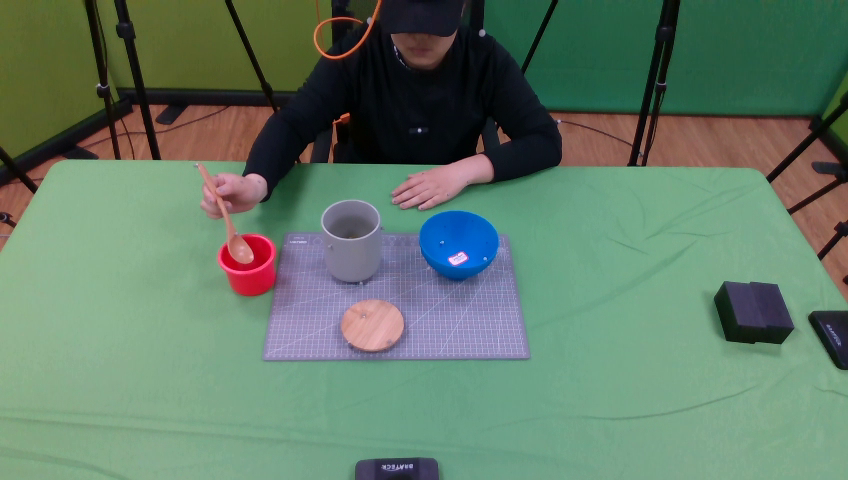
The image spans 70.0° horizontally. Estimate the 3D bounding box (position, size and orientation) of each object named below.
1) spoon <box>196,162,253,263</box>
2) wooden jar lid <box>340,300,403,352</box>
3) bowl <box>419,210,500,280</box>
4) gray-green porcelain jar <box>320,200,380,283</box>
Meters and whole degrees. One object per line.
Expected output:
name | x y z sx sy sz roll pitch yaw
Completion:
spoon | -0.349 -0.047 1.055 0.021 0.194 0.041 -17 7 40
wooden jar lid | -0.090 0.150 1.046 0.108 0.021 0.107 3 47 -3
bowl | 0.062 0.022 1.140 0.151 0.077 0.150 2 46 -2
gray-green porcelain jar | -0.132 0.007 1.106 0.106 0.127 0.105 2 46 -2
